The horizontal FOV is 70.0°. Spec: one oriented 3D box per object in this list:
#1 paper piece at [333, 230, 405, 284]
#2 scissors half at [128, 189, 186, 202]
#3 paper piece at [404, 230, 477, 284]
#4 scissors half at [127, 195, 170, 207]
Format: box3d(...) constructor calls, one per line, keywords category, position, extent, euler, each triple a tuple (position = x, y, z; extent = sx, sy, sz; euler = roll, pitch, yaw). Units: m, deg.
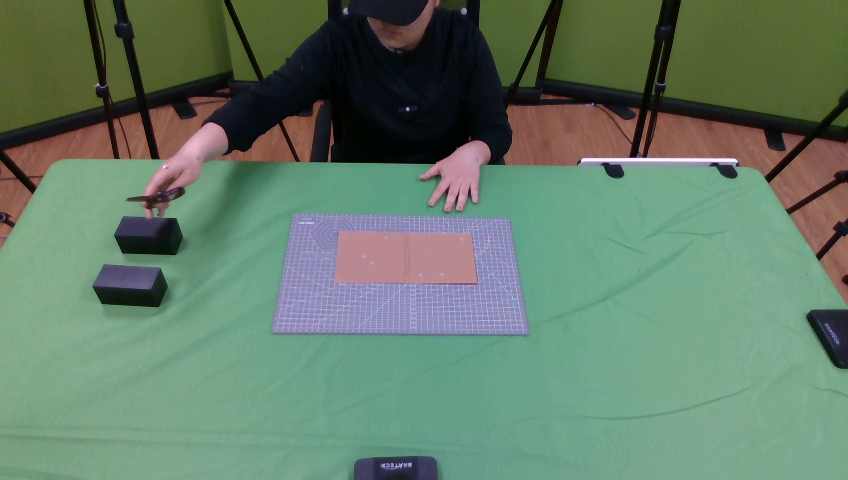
box3d(category="paper piece", position=(-0.104, 0.031, 1.165), extent=(0.135, 0.004, 0.135), euler=(2, 47, -4))
box3d(category="scissors half", position=(-0.455, -0.076, 1.034), extent=(0.040, 0.013, 0.175), euler=(-25, 3, 8))
box3d(category="paper piece", position=(0.030, 0.033, 1.174), extent=(0.138, 0.009, 0.135), euler=(2, 49, -3))
box3d(category="scissors half", position=(-0.474, -0.068, 1.034), extent=(0.040, 0.175, 0.013), euler=(-20, 93, -8))
